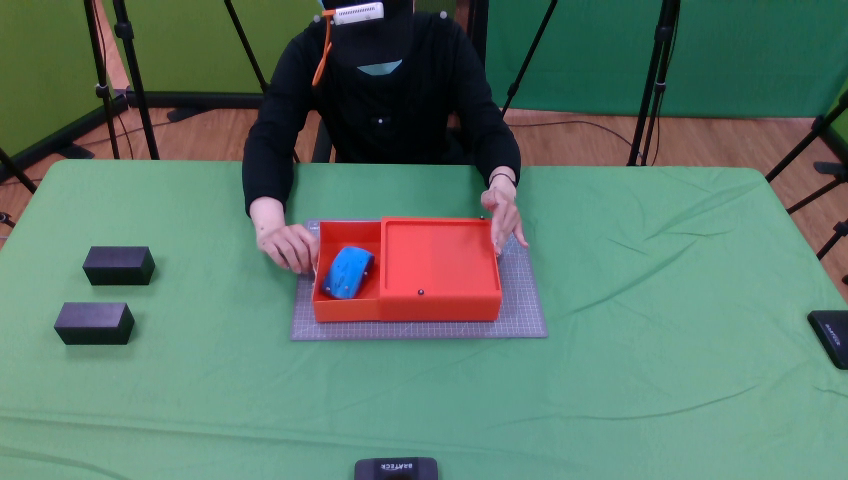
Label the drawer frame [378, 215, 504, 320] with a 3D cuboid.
[{"bbox_3d":[0.024,0.047,1.103,0.214,0.083,0.200,0,46,-4],"label":"drawer frame"}]

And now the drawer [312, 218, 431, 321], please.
[{"bbox_3d":[-0.090,0.049,1.097,0.212,0.073,0.193,0,46,-4],"label":"drawer"}]

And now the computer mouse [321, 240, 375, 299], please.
[{"bbox_3d":[-0.138,0.051,1.104,0.063,0.041,0.117,24,58,6],"label":"computer mouse"}]
